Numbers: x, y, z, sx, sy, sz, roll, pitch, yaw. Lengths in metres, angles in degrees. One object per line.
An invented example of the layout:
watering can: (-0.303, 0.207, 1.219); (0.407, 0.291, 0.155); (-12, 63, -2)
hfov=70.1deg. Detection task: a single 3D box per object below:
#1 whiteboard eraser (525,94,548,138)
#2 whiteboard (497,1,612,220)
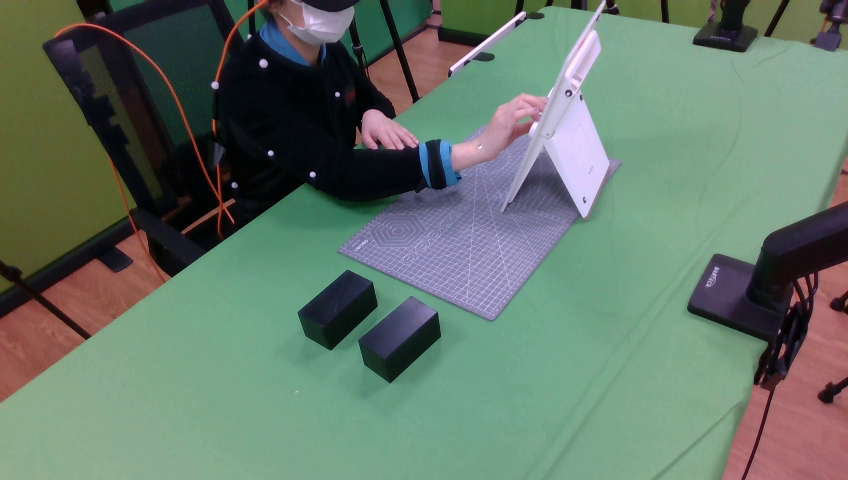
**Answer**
whiteboard eraser: (0.197, -0.211, 1.007); (0.019, 0.041, 0.101); (30, 70, 12)
whiteboard: (0.259, -0.177, 0.963); (0.143, 0.306, 0.217); (28, 48, 9)
